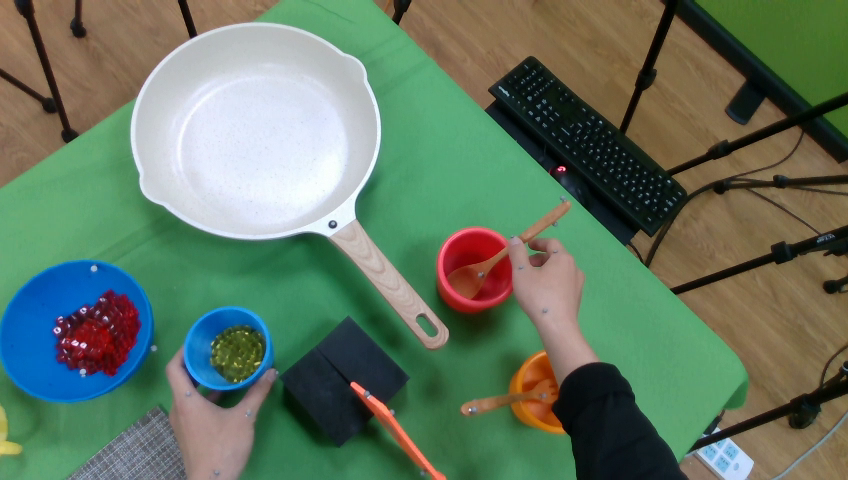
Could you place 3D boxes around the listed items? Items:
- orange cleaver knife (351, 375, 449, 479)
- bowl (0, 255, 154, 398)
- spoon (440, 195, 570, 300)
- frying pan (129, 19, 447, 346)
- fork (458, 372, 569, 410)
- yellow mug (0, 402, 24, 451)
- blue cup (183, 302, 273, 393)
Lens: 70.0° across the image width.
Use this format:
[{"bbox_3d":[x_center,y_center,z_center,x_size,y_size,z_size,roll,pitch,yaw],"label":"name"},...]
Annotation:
[{"bbox_3d":[-0.011,0.228,0.663,0.012,0.076,0.213,-41,110,-17],"label":"orange cleaver knife"},{"bbox_3d":[-0.364,0.098,0.661,0.152,0.077,0.150,2,72,-7],"label":"bowl"},{"bbox_3d":[0.093,0.010,0.712,0.194,0.022,0.041,-39,77,27],"label":"spoon"},{"bbox_3d":[-0.138,-0.061,0.726,0.307,0.103,0.484,-36,72,-15],"label":"frying pan"},{"bbox_3d":[0.103,0.165,0.661,0.209,0.018,0.028,7,65,-51],"label":"fork"},{"bbox_3d":[-0.481,0.200,0.620,0.131,0.064,0.099,11,71,-5],"label":"yellow mug"},{"bbox_3d":[-0.205,0.118,0.663,0.093,0.100,0.092,1,74,-5],"label":"blue cup"}]
